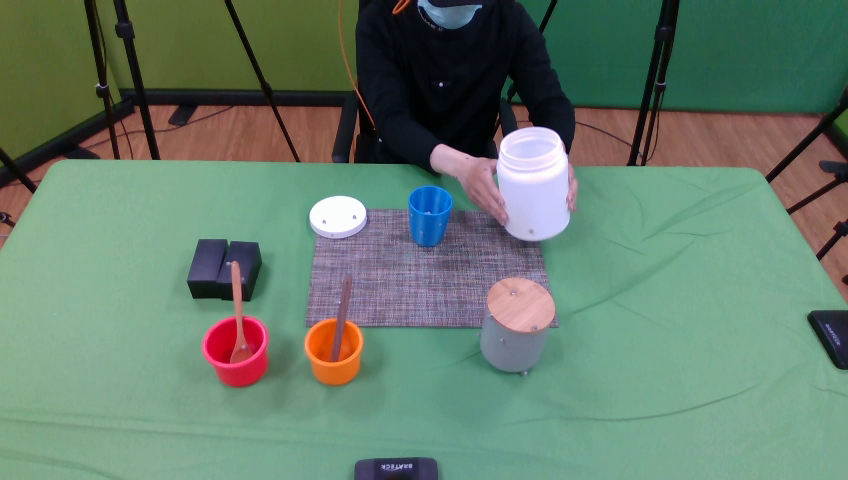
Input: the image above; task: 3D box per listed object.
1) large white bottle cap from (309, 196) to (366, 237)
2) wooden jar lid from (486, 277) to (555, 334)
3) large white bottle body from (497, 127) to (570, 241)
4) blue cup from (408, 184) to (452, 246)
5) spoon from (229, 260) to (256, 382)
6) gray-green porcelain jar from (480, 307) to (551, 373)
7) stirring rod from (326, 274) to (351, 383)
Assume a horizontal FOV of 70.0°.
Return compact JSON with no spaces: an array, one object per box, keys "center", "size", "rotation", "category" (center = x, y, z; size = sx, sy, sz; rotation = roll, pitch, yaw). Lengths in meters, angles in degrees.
[{"center":[-0.176,-0.048,1.229],"size":[0.115,0.018,0.114],"rotation":[0,43,0],"category":"large white bottle cap"},{"center":[0.150,0.105,0.948],"size":[0.108,0.021,0.107],"rotation":[3,47,-3],"category":"wooden jar lid"},{"center":[0.206,-0.105,1.137],"size":[0.130,0.185,0.130],"rotation":[-8,40,7],"category":"large white bottle body"},{"center":[0.008,-0.042,1.177],"size":[0.093,0.101,0.092],"rotation":[3,47,-3],"category":"blue cup"},{"center":[-0.294,0.129,0.966],"size":[0.042,0.021,0.193],"rotation":[-4,91,-8],"category":"spoon"},{"center":[0.148,0.148,0.992],"size":[0.106,0.127,0.105],"rotation":[2,46,-2],"category":"gray-green porcelain jar"},{"center":[-0.137,0.142,0.971],"size":[0.014,0.006,0.176],"rotation":[9,88,1],"category":"stirring rod"}]
